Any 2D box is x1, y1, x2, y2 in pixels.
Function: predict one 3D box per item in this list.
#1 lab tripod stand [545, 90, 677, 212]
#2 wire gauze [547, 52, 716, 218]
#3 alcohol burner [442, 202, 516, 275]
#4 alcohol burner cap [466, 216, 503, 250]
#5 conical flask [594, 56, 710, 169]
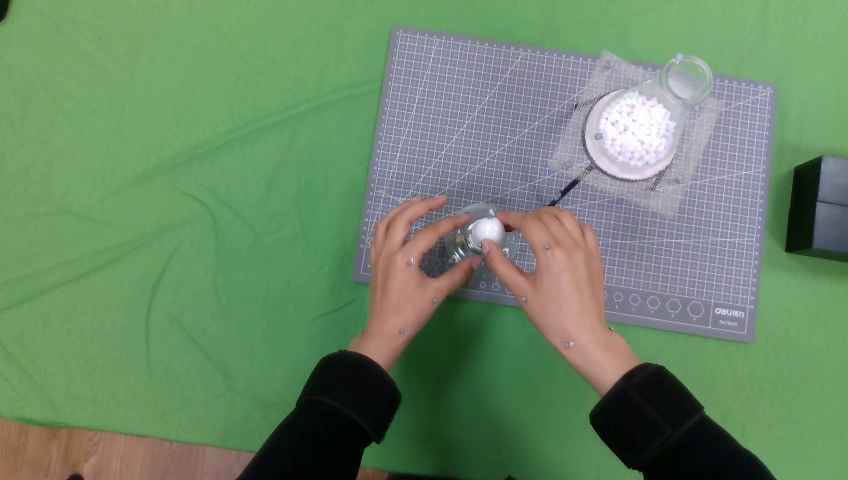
[{"bbox_3d":[0.187,-0.092,0.623,0.148,0.132,0.148,0,83,1],"label":"lab tripod stand"},{"bbox_3d":[0.193,-0.097,0.557,0.121,0.011,0.125,26,82,1],"label":"wire gauze"},{"bbox_3d":[0.058,-0.003,0.622,0.078,0.119,0.077,0,86,0],"label":"alcohol burner"},{"bbox_3d":[0.059,-0.008,0.579,0.034,0.048,0.034,0,85,-3],"label":"alcohol burner cap"},{"bbox_3d":[0.192,-0.108,0.499,0.075,0.122,0.075,0,83,0],"label":"conical flask"}]
